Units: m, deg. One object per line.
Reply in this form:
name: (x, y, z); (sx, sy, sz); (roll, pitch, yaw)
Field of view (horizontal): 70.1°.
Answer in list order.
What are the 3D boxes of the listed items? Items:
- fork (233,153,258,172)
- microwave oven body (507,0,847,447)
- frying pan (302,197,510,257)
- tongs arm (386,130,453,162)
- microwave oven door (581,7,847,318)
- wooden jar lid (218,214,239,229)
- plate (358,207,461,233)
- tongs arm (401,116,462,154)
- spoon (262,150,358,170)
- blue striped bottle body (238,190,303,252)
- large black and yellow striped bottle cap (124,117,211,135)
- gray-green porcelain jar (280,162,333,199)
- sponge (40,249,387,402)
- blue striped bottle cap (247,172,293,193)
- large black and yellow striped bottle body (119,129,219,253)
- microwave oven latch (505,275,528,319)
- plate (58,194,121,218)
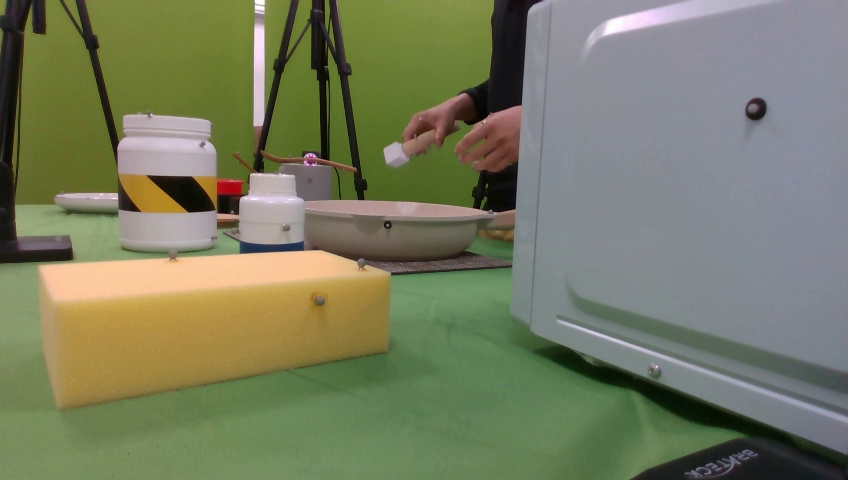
fork: (-0.396, -0.143, 1.486); (0.028, 0.018, 0.208); (21, -25, 45)
microwave oven body: (0.331, -0.042, 0.425); (0.444, 0.260, 0.324); (-2, 8, -31)
frying pan: (0.050, -0.035, 0.915); (0.487, 0.102, 0.307); (-5, 7, 10)
tongs arm: (-0.003, -0.213, 1.290); (0.028, 0.028, 0.388); (-31, 6, 25)
microwave oven door: (0.295, -0.067, 0.569); (0.358, 0.243, 0.039); (-3, 8, -31)
wooden jar lid: (-0.404, -0.037, 1.169); (0.108, 0.020, 0.108); (3, 7, 0)
plate: (-0.030, -0.041, 1.213); (0.208, 0.039, 0.207); (3, 7, 0)
tongs arm: (0.016, -0.223, 1.281); (0.050, 0.026, 0.386); (-26, 8, 28)
spoon: (-0.229, -0.162, 1.222); (0.194, 0.021, 0.041); (4, 4, -16)
blue striped bottle body: (-0.153, -0.007, 0.606); (0.063, 0.120, 0.063); (2, 8, 0)
large black and yellow striped bottle cap: (-0.366, -0.163, 0.866); (0.115, 0.019, 0.115); (3, 7, 0)
gray-green porcelain jar: (-0.238, -0.092, 1.221); (0.106, 0.126, 0.106); (2, 7, 0)
sponge: (-0.142, 0.047, 0.419); (0.208, 0.061, 0.117); (-3, 8, -36)
blue striped bottle cap: (-0.152, -0.057, 0.598); (0.044, 0.020, 0.044); (3, 6, 0)
large black and yellow striped bottle body: (-0.367, -0.080, 0.876); (0.131, 0.184, 0.130); (1, 7, 0)
microwave oven latch: (0.100, 0.041, 0.471); (0.079, 0.029, 0.030); (-1, 7, -28)
plate: (-0.671, -0.074, 1.310); (0.209, 0.038, 0.209); (2, 8, 0)
